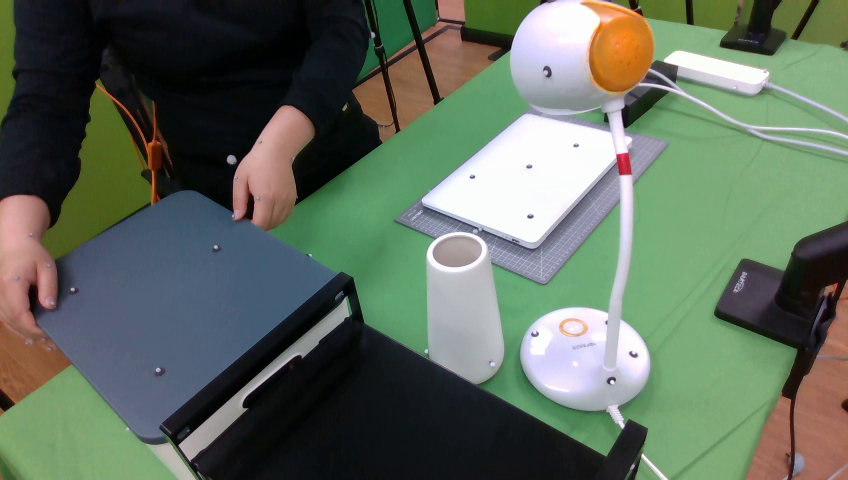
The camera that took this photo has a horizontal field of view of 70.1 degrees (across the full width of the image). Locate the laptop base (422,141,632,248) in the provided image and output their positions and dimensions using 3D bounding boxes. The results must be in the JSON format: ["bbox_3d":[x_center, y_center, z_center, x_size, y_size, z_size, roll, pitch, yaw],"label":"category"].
[{"bbox_3d":[0.192,-0.117,1.087,0.233,0.023,0.355,21,47,34],"label":"laptop base"}]

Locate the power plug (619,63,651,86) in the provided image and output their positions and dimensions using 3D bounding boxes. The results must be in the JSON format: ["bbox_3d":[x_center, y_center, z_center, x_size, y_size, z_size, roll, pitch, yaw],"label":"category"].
[{"bbox_3d":[0.435,-0.341,1.265,0.035,0.053,0.072,5,31,-14],"label":"power plug"}]

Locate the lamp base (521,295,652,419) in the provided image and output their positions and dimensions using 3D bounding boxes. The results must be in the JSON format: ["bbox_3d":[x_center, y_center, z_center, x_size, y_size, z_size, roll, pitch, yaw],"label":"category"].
[{"bbox_3d":[0.200,0.095,0.710,0.161,0.181,0.178,-16,43,-10],"label":"lamp base"}]

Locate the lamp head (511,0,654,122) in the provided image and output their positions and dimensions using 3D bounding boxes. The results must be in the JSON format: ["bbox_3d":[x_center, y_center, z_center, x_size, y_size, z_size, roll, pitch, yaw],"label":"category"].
[{"bbox_3d":[0.155,-0.168,0.563,0.113,0.113,0.122,-18,23,-12],"label":"lamp head"}]

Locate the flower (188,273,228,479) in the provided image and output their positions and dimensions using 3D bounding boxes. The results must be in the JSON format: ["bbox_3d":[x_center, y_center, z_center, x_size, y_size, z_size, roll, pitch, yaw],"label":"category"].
[{"bbox_3d":[-0.283,0.161,0.819,0.044,0.038,0.359,10,34,-22],"label":"flower"}]

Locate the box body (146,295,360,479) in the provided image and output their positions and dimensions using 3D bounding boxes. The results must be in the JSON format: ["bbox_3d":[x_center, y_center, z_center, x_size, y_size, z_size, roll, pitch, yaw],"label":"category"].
[{"bbox_3d":[-0.288,0.118,0.772,0.361,0.161,0.255,26,50,33],"label":"box body"}]

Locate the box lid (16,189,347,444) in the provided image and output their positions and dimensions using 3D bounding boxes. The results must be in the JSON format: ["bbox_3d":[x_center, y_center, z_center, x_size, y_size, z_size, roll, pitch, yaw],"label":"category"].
[{"bbox_3d":[-0.296,0.061,0.722,0.368,0.015,0.264,26,51,34],"label":"box lid"}]

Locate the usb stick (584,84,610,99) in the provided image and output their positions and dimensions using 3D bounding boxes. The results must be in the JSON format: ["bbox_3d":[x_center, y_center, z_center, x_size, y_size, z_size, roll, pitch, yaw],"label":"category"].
[{"bbox_3d":[0.354,-0.306,1.252,0.027,0.021,0.058,-3,1,-39],"label":"usb stick"}]

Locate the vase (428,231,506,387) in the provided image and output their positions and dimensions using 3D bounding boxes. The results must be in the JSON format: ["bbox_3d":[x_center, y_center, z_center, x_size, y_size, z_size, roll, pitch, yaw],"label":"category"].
[{"bbox_3d":[0.050,0.087,0.728,0.098,0.201,0.097,-3,40,3],"label":"vase"}]

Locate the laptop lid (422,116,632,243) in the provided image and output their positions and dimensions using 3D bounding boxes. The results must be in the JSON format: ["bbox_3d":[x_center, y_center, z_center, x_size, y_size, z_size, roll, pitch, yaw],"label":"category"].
[{"bbox_3d":[0.189,-0.126,1.081,0.239,0.013,0.358,23,48,35],"label":"laptop lid"}]

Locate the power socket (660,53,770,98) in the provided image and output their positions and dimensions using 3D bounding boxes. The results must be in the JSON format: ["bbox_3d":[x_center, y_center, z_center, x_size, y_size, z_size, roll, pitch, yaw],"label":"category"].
[{"bbox_3d":[0.616,-0.355,1.292,0.225,0.033,0.072,29,53,35],"label":"power socket"}]
